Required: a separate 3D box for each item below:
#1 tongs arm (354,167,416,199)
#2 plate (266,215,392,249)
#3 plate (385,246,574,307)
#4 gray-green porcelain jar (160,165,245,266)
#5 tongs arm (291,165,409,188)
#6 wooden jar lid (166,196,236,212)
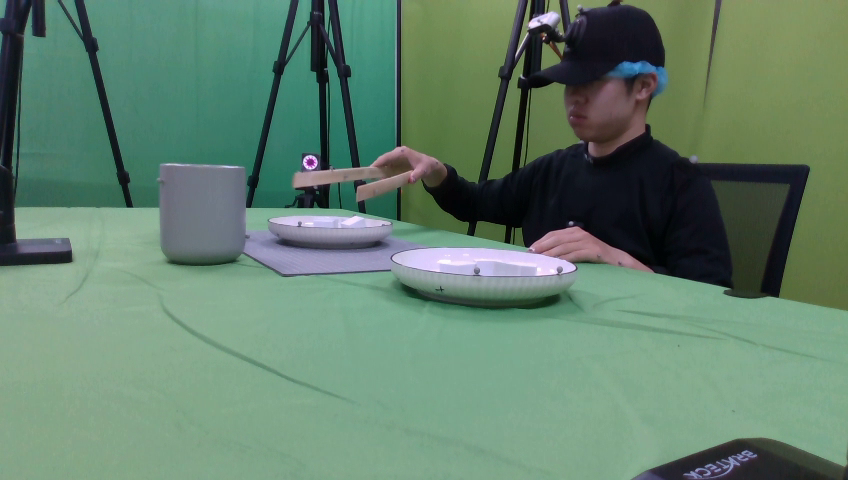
[{"bbox_3d":[-0.066,-0.113,1.155,0.028,0.028,0.388,5,12,13],"label":"tongs arm"},{"bbox_3d":[-0.159,-0.015,1.019,0.209,0.038,0.209,3,7,0],"label":"plate"},{"bbox_3d":[0.060,0.041,0.678,0.208,0.039,0.207,3,7,0],"label":"plate"},{"bbox_3d":[-0.291,-0.034,0.799,0.106,0.126,0.106,2,8,0],"label":"gray-green porcelain jar"},{"bbox_3d":[-0.127,-0.125,1.174,0.050,0.026,0.386,10,12,20],"label":"tongs arm"},{"bbox_3d":[-0.369,-0.059,1.001,0.108,0.020,0.108,3,6,0],"label":"wooden jar lid"}]
